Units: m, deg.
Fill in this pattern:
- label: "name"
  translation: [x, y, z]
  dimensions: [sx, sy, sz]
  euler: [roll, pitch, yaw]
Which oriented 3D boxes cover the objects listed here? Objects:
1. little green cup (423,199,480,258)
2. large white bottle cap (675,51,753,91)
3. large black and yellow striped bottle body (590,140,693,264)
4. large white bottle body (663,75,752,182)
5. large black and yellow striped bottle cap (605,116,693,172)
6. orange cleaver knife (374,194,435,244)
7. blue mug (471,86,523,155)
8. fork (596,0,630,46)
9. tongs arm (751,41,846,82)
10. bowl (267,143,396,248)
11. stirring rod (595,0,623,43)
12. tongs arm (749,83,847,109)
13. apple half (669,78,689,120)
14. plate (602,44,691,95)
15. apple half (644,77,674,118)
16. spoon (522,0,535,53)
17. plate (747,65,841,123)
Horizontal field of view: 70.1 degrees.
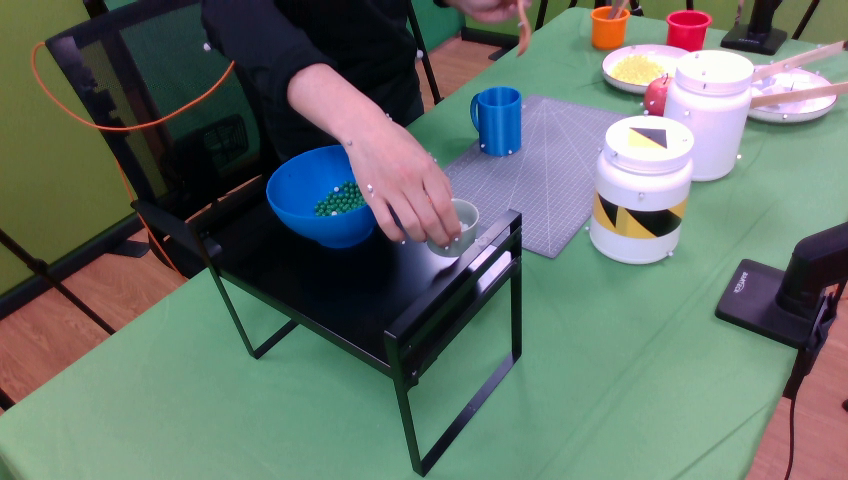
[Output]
- label: "little green cup"
  translation: [0.029, -0.011, 0.653]
  dimensions: [0.061, 0.039, 0.061]
  euler: [0, 39, 1]
- label: "large white bottle cap"
  translation: [0.463, -0.271, 0.967]
  dimensions: [0.115, 0.018, 0.114]
  euler: [-4, 40, 3]
- label: "large black and yellow striped bottle body"
  translation: [0.317, -0.071, 0.889]
  dimensions: [0.131, 0.185, 0.130]
  euler: [-4, 41, 4]
- label: "large white bottle body"
  translation: [0.472, -0.207, 1.022]
  dimensions: [0.130, 0.185, 0.130]
  euler: [-4, 41, 4]
- label: "large black and yellow striped bottle cap"
  translation: [0.309, -0.134, 0.833]
  dimensions: [0.115, 0.019, 0.114]
  euler: [-5, 40, 5]
- label: "orange cleaver knife"
  translation: [-0.032, -0.026, 0.964]
  dimensions: [0.210, 0.077, 0.012]
  euler: [-10, 29, 51]
- label: "blue mug"
  translation: [0.135, -0.235, 1.163]
  dimensions: [0.082, 0.106, 0.115]
  euler: [-36, 48, -28]
- label: "fork"
  translation: [0.481, -0.556, 1.452]
  dimensions: [0.028, 0.019, 0.207]
  euler: [40, 103, 40]
- label: "tongs arm"
  translation: [0.708, -0.331, 1.194]
  dimensions: [0.386, 0.026, 0.050]
  euler: [-18, 45, -16]
- label: "bowl"
  translation: [-0.103, -0.043, 0.725]
  dimensions: [0.151, 0.077, 0.150]
  euler: [-4, 41, 4]
- label: "stirring rod"
  translation: [0.460, -0.556, 1.460]
  dimensions: [0.014, 0.006, 0.176]
  euler: [30, 93, 23]
- label: "tongs arm"
  translation: [0.734, -0.280, 1.133]
  dimensions: [0.388, 0.028, 0.028]
  euler: [-9, 47, -5]
- label: "apple half"
  translation: [0.498, -0.273, 1.180]
  dimensions: [0.032, 0.082, 0.081]
  euler: [7, 42, 25]
- label: "plate"
  translation: [0.495, -0.367, 1.317]
  dimensions: [0.209, 0.038, 0.208]
  euler: [-4, 40, 4]
- label: "apple half"
  translation: [0.463, -0.279, 1.194]
  dimensions: [0.053, 0.075, 0.081]
  euler: [8, 46, 24]
- label: "spoon"
  translation: [0.177, -0.411, 1.044]
  dimensions: [0.022, 0.041, 0.193]
  euler: [2, 76, -12]
- label: "plate"
  translation: [0.695, -0.283, 1.189]
  dimensions: [0.207, 0.039, 0.206]
  euler: [-4, 40, 4]
